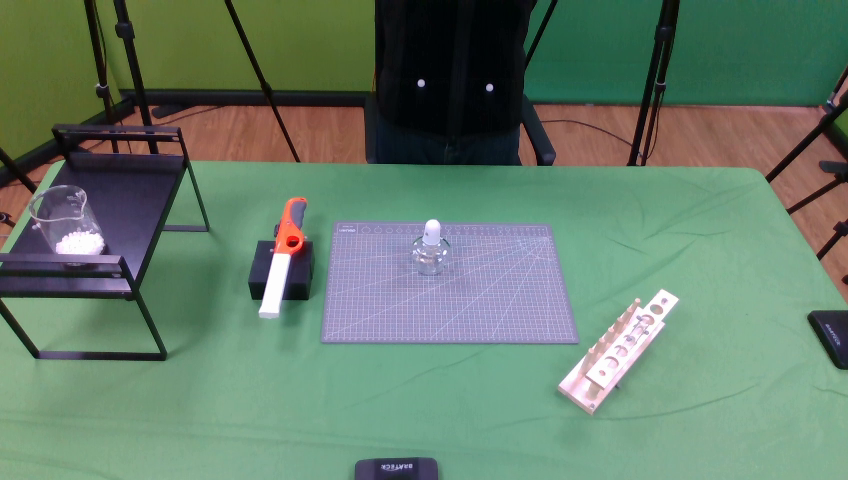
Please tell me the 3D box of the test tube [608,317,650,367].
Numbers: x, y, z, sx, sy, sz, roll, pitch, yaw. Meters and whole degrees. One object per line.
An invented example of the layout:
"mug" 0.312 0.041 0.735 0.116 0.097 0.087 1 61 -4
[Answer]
"test tube" 0.314 0.168 0.942 0.017 0.151 0.017 5 48 -5

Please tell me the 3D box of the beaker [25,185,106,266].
"beaker" -0.507 -0.017 0.871 0.084 0.101 0.074 23 49 17

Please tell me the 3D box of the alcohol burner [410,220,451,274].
"alcohol burner" 0.013 0.007 1.120 0.078 0.120 0.077 1 48 -1

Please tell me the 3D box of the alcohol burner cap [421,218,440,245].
"alcohol burner cap" 0.013 -0.018 1.095 0.034 0.048 0.033 5 44 -5

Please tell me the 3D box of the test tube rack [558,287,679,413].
"test tube rack" 0.326 0.170 1.009 0.066 0.085 0.242 36 54 27

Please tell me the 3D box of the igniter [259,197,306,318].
"igniter" -0.252 0.021 1.088 0.057 0.025 0.275 4 48 -2
